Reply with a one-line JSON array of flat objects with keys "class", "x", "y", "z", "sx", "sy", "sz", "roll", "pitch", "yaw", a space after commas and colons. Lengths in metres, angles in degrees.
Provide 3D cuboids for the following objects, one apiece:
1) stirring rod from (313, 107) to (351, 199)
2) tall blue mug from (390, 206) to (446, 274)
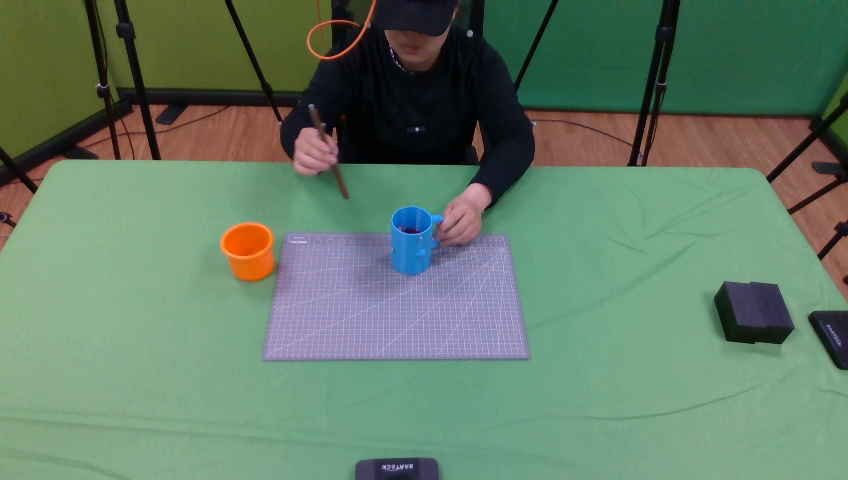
[{"class": "stirring rod", "x": -0.156, "y": -0.145, "z": 1.036, "sx": 0.014, "sy": 0.177, "sz": 0.006, "roll": 9, "pitch": 41, "yaw": 32}, {"class": "tall blue mug", "x": -0.017, "y": -0.008, "z": 1.142, "sx": 0.077, "sy": 0.108, "sz": 0.107, "roll": 25, "pitch": 49, "yaw": 20}]
